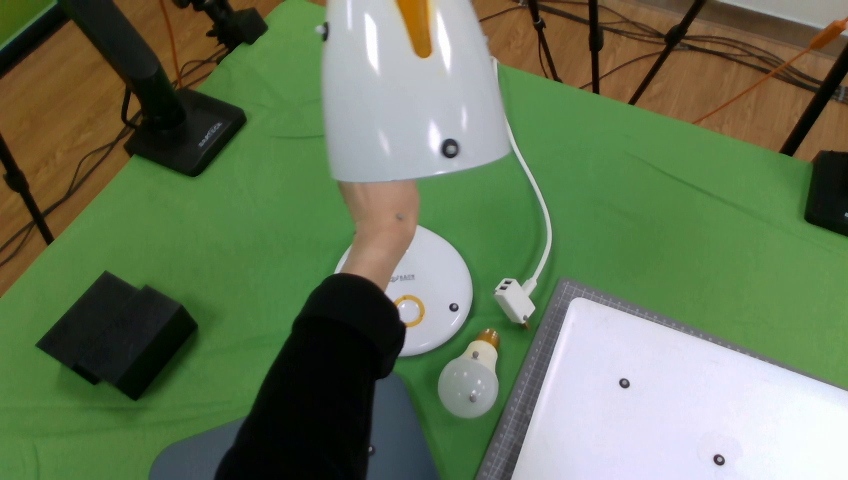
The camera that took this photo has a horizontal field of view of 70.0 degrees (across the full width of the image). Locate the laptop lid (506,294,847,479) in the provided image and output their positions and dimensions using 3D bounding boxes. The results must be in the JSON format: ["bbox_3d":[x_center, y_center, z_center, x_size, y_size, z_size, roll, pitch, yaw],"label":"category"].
[{"bbox_3d":[0.275,0.206,0.574,0.355,0.013,0.240,21,63,13],"label":"laptop lid"}]

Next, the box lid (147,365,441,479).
[{"bbox_3d":[-0.088,0.308,0.532,0.263,0.015,0.367,-19,61,-11],"label":"box lid"}]

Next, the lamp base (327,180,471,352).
[{"bbox_3d":[-0.033,0.000,0.621,0.161,0.182,0.177,-17,57,-10],"label":"lamp base"}]

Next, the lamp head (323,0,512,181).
[{"bbox_3d":[-0.010,-0.104,0.357,0.112,0.112,0.123,-11,103,-6],"label":"lamp head"}]

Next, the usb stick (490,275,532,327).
[{"bbox_3d":[0.098,0.068,0.657,0.027,0.059,0.021,-45,25,-27],"label":"usb stick"}]

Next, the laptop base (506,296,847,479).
[{"bbox_3d":[0.276,0.211,0.586,0.353,0.023,0.234,19,64,12],"label":"laptop base"}]

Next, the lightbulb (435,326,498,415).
[{"bbox_3d":[0.050,0.129,0.620,0.059,0.060,0.107,20,45,13],"label":"lightbulb"}]
